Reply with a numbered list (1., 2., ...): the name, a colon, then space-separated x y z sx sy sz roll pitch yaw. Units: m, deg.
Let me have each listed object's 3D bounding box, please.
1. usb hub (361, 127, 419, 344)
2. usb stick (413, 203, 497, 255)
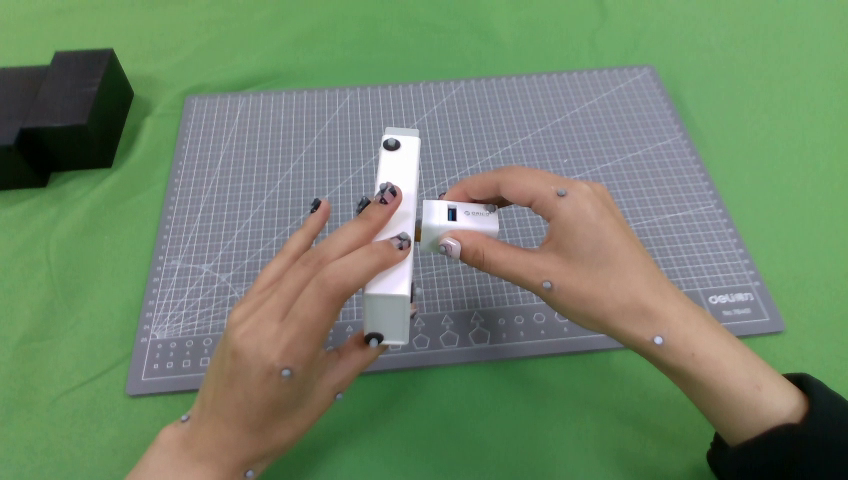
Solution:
1. usb hub: -0.017 -0.006 0.345 0.025 0.050 0.124 3 50 -1
2. usb stick: 0.013 -0.006 0.354 0.059 0.027 0.021 -3 54 3
